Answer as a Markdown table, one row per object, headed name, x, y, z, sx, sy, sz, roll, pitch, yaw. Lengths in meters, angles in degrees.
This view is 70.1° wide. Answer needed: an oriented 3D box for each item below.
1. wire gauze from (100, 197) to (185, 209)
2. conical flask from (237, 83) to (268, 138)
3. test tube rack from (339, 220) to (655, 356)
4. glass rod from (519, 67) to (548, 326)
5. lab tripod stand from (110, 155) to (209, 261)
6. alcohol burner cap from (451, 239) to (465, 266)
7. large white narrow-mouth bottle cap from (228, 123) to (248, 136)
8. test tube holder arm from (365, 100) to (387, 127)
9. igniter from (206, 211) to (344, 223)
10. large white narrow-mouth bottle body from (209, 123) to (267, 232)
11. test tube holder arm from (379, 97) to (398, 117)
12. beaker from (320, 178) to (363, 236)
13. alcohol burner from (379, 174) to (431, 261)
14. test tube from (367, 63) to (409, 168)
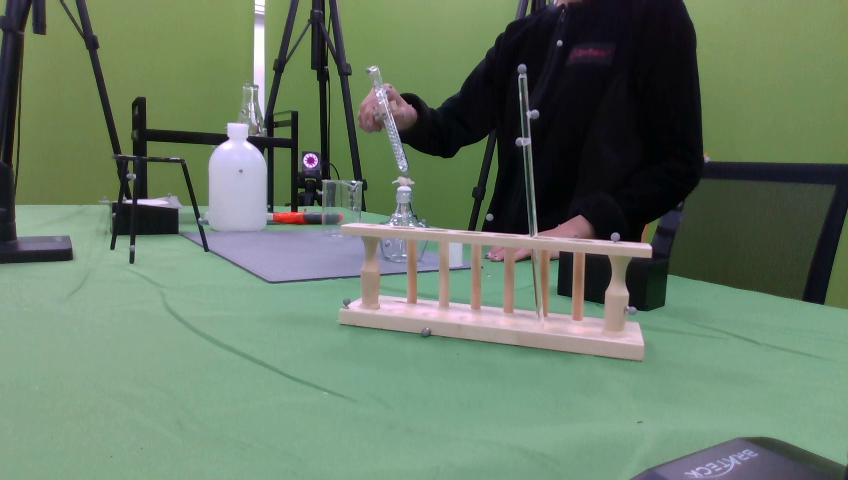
| name | x | y | z | sx | sy | sz | roll | pitch | yaw |
| --- | --- | --- | --- | --- | --- | --- | --- | --- | --- |
| wire gauze | -0.469 | -0.062 | 1.008 | 0.126 | 0.011 | 0.121 | -2 | 8 | -25 |
| conical flask | -0.402 | -0.299 | 1.406 | 0.075 | 0.122 | 0.075 | 2 | 7 | 0 |
| test tube rack | 0.056 | 0.032 | 0.495 | 0.242 | 0.085 | 0.067 | 4 | 7 | 15 |
| glass rod | 0.084 | -0.029 | 0.459 | 0.008 | 0.199 | 0.008 | -7 | 11 | 2 |
| lab tripod stand | -0.361 | -0.046 | 0.806 | 0.148 | 0.131 | 0.148 | 2 | 5 | 0 |
| alcohol burner cap | 0.040 | 0.010 | 0.815 | 0.034 | 0.048 | 0.034 | 4 | 7 | 0 |
| large white narrow-mouth bottle cap | -0.338 | -0.200 | 1.097 | 0.038 | 0.024 | 0.037 | 2 | 8 | 0 |
| test tube holder arm | -0.072 | -0.186 | 0.893 | 0.013 | 0.015 | 0.178 | -16 | 6 | -12 |
| igniter | -0.302 | -0.048 | 1.249 | 0.278 | 0.025 | 0.057 | -2 | -2 | -26 |
| large white narrow-mouth bottle body | -0.340 | -0.115 | 1.109 | 0.102 | 0.194 | 0.102 | 2 | 8 | 0 |
| test tube holder arm | -0.055 | -0.186 | 0.852 | 0.010 | 0.015 | 0.087 | -18 | 7 | -20 |
| beaker | -0.145 | -0.059 | 1.079 | 0.074 | 0.100 | 0.083 | -4 | 10 | -36 |
| alcohol burner | -0.027 | -0.031 | 0.838 | 0.078 | 0.119 | 0.078 | 0 | 6 | 0 |
| test tube | -0.048 | -0.170 | 0.828 | 0.017 | 0.150 | 0.017 | -18 | 1 | 1 |
